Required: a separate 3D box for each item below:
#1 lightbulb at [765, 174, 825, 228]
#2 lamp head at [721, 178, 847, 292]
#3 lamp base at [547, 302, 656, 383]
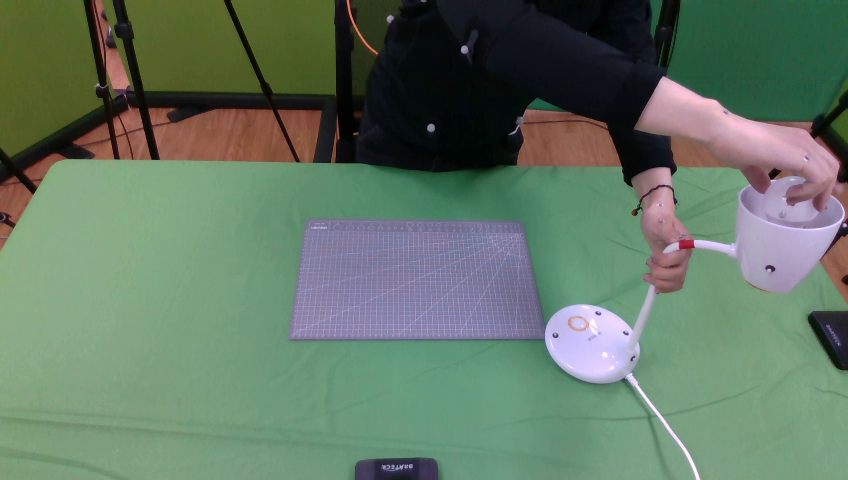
[{"bbox_3d":[0.428,-0.025,0.709,0.059,0.108,0.059,-4,31,3],"label":"lightbulb"},{"bbox_3d":[0.423,0.001,0.727,0.112,0.123,0.112,0,38,0],"label":"lamp head"},{"bbox_3d":[0.304,0.127,0.982,0.160,0.181,0.178,-33,59,-29],"label":"lamp base"}]
